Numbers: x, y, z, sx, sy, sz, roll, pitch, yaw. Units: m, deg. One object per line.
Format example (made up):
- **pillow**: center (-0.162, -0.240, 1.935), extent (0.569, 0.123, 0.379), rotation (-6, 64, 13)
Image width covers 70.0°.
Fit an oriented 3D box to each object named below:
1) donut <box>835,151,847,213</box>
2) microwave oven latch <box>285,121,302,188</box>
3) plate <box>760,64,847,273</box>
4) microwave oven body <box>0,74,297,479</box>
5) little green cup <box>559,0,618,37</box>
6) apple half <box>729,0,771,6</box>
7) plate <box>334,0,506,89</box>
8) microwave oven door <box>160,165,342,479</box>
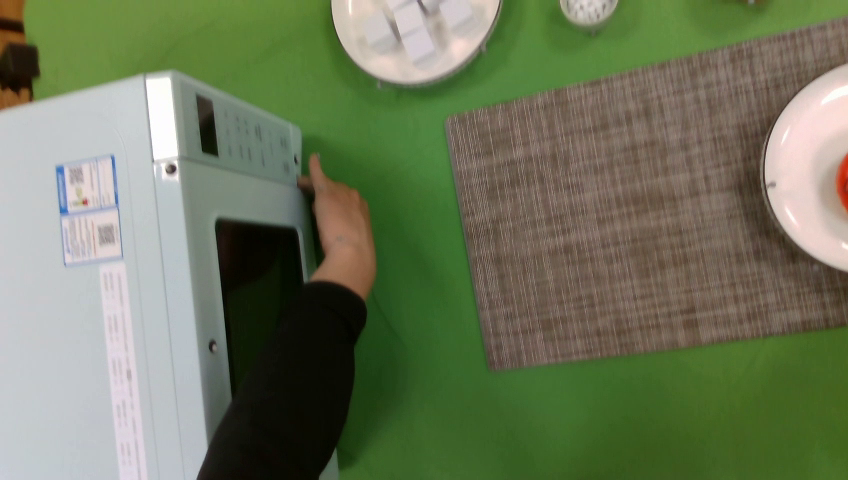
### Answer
- **donut**: center (0.444, -0.055, 0.570), extent (0.099, 0.048, 0.099), rotation (0, 90, 17)
- **microwave oven latch**: center (-0.167, -0.103, 0.740), extent (0.030, 0.029, 0.079), rotation (-1, 89, 15)
- **plate**: center (0.436, -0.068, 0.584), extent (0.208, 0.038, 0.209), rotation (0, 89, 16)
- **microwave oven body**: center (-0.311, 0.090, 0.678), extent (0.325, 0.261, 0.441), rotation (-8, 88, 15)
- **little green cup**: center (0.181, -0.254, 0.664), extent (0.061, 0.039, 0.061), rotation (-1, 88, 17)
- **apple half**: center (0.320, -0.272, 0.607), extent (0.053, 0.075, 0.080), rotation (-20, 87, 19)
- **plate**: center (-0.004, -0.279, 0.716), extent (0.207, 0.039, 0.207), rotation (0, 89, 16)
- **microwave oven door**: center (-0.168, 0.113, 0.632), extent (0.039, 0.245, 0.355), rotation (-8, 86, 15)
